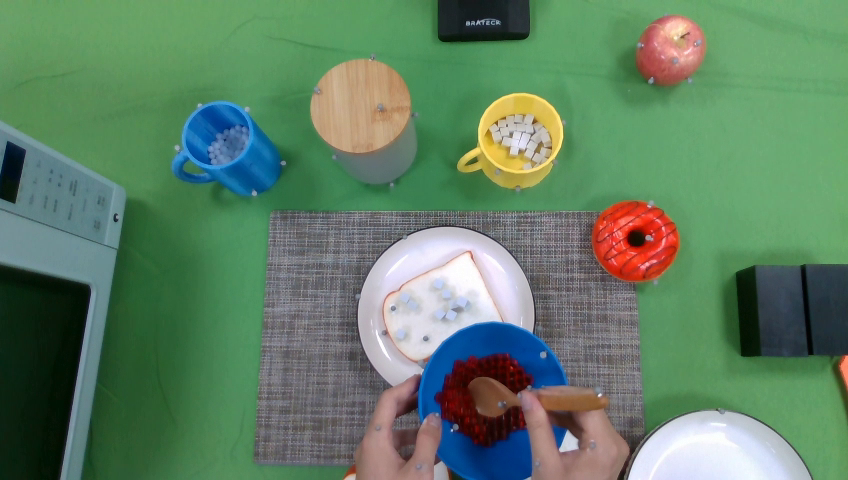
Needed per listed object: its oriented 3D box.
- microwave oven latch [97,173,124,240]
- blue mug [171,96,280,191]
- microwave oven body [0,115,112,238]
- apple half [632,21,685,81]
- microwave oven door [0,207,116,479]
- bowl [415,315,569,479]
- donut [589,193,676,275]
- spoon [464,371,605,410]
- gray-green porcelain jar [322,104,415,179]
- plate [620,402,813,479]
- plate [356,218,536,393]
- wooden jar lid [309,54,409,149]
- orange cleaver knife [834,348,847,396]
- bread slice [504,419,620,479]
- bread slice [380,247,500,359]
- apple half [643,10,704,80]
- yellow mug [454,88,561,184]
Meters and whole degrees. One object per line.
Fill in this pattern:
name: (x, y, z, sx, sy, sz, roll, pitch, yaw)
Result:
microwave oven latch: (-0.390, -0.041, 0.741, 0.030, 0.029, 0.079, 6, 80, 4)
blue mug: (-0.244, -0.106, 0.730, 0.116, 0.106, 0.082, -25, 78, -1)
microwave oven body: (-0.557, 0.105, 0.625, 0.326, 0.261, 0.440, 3, 80, 3)
apple half: (0.275, -0.220, 0.737, 0.033, 0.081, 0.081, -32, 79, -8)
microwave oven door: (-0.415, 0.154, 0.603, 0.039, 0.245, 0.354, 3, 79, 4)
bowl: (0.060, 0.154, 0.604, 0.152, 0.077, 0.150, 3, 77, -10)
donut: (0.244, -0.007, 0.711, 0.099, 0.048, 0.098, -1, 80, 4)
spoon: (0.089, 0.136, 0.532, 0.022, 0.193, 0.041, -18, 88, -26)
gray-green porcelain jar: (-0.065, -0.134, 0.715, 0.106, 0.127, 0.105, -1, 79, 3)
plate: (0.314, 0.282, 0.661, 0.209, 0.038, 0.208, -1, 79, 4)
plate: (0.026, 0.079, 0.711, 0.207, 0.039, 0.206, -1, 79, 3)
wooden jar lid: (-0.069, -0.147, 0.654, 0.108, 0.021, 0.108, -1, 77, 4)
orange cleaver knife: (0.504, 0.215, 0.672, 0.077, 0.012, 0.210, 2, 78, -3)
bread slice: (0.148, 0.249, 0.649, 0.135, 0.018, 0.106, -3, 75, -18)
bread slice: (0.016, 0.081, 0.713, 0.131, 0.019, 0.104, -25, 78, -3)
apple half: (0.308, -0.242, 0.741, 0.053, 0.075, 0.080, -31, 75, -8)
yellow mug: (0.097, -0.118, 0.733, 0.131, 0.064, 0.099, -23, 79, -1)
